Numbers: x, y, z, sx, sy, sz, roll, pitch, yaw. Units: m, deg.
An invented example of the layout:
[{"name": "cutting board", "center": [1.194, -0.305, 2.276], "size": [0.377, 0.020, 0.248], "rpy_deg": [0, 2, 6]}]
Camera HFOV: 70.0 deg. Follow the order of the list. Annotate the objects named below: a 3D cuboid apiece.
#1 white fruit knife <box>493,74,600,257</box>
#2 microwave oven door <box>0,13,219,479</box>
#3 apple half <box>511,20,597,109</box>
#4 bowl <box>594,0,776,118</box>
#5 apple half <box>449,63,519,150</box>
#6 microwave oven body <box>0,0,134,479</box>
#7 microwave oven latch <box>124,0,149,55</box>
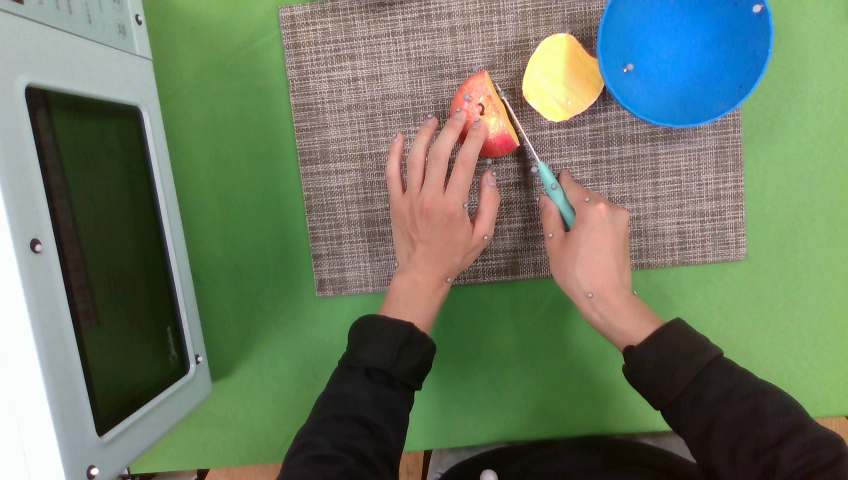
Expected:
[{"name": "white fruit knife", "center": [0.118, -0.075, 0.598], "size": [0.016, 0.027, 0.207], "rpy_deg": [-30, 84, 5]}, {"name": "microwave oven door", "center": [-0.274, 0.006, 0.525], "size": [0.039, 0.243, 0.356], "rpy_deg": [-8, 98, 5]}, {"name": "apple half", "center": [0.122, -0.166, 0.585], "size": [0.081, 0.032, 0.081], "rpy_deg": [1, 105, 6]}, {"name": "bowl", "center": [0.226, -0.186, 0.558], "size": [0.151, 0.076, 0.151], "rpy_deg": [1, 98, 4]}, {"name": "apple half", "center": [0.053, -0.122, 0.582], "size": [0.053, 0.074, 0.081], "rpy_deg": [-25, 96, 18]}, {"name": "microwave oven body", "center": [-0.424, -0.017, 0.536], "size": [0.326, 0.259, 0.442], "rpy_deg": [-8, 98, 4]}, {"name": "microwave oven latch", "center": [-0.296, -0.223, 0.594], "size": [0.030, 0.029, 0.079], "rpy_deg": [-8, 98, 4]}]
